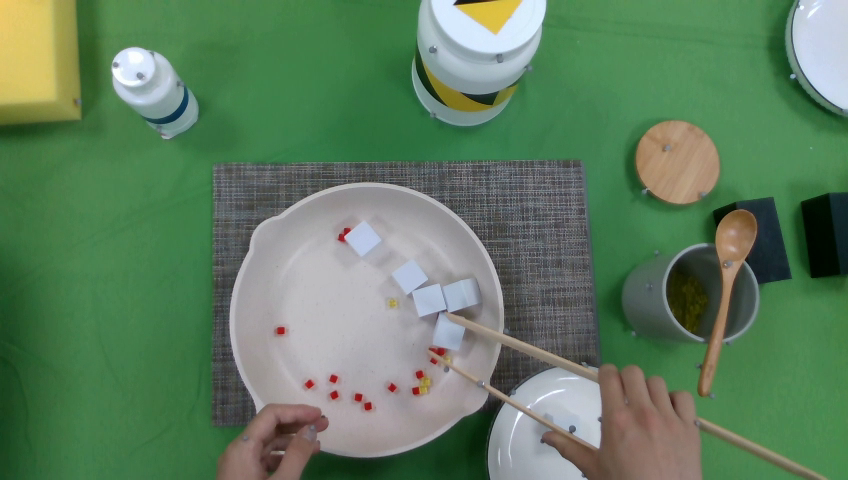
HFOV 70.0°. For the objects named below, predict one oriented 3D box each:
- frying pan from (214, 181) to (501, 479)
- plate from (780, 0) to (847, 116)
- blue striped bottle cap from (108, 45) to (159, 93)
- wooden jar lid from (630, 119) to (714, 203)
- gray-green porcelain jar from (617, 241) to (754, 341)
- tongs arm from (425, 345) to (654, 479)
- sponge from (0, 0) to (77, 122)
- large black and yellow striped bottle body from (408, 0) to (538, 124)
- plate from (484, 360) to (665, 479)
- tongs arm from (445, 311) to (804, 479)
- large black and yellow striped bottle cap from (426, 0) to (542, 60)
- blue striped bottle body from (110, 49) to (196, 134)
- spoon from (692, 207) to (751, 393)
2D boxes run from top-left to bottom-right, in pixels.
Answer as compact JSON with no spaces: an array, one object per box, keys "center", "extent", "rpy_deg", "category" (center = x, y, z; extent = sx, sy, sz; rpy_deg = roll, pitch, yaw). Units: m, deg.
[{"center":[-0.127,0.159,0.642],"extent":[0.306,0.103,0.487],"rpy_deg":[39,72,2],"category":"frying pan"},{"center":[0.568,-0.259,0.803],"extent":[0.209,0.038,0.208],"rpy_deg":[1,82,-5],"category":"plate"},{"center":[-0.296,-0.175,0.617],"extent":[0.044,0.020,0.044],"rpy_deg":[1,83,-5],"category":"blue striped bottle cap"},{"center":[0.311,-0.099,0.767],"extent":[0.108,0.021,0.108],"rpy_deg":[1,83,-5],"category":"wooden jar lid"},{"center":[0.287,0.062,0.688],"extent":[0.106,0.126,0.105],"rpy_deg":[1,81,-5],"category":"gray-green porcelain jar"},{"center":[0.161,0.171,0.542],"extent":[0.381,0.027,0.050],"rpy_deg":[27,72,31],"category":"tongs arm"},{"center":[-0.475,-0.243,0.691],"extent":[0.118,0.061,0.206],"rpy_deg":[-7,83,-7],"category":"sponge"},{"center":[0.051,-0.220,0.677],"extent":[0.131,0.184,0.130],"rpy_deg":[1,81,-5],"category":"large black and yellow striped bottle body"},{"center":[0.169,0.241,0.694],"extent":[0.208,0.039,0.207],"rpy_deg":[1,83,-6],"category":"plate"},{"center":[0.176,0.149,0.550],"extent":[0.384,0.028,0.028],"rpy_deg":[24,67,30],"category":"tongs arm"},{"center":[0.059,-0.234,0.594],"extent":[0.115,0.019,0.114],"rpy_deg":[1,83,-5],"category":"large black and yellow striped bottle cap"},{"center":[-0.299,-0.166,0.667],"extent":[0.063,0.121,0.063],"rpy_deg":[1,81,-5],"category":"blue striped bottle body"},{"center":[0.298,0.061,0.618],"extent":[0.042,0.021,0.193],"rpy_deg":[14,85,-6],"category":"spoon"}]
